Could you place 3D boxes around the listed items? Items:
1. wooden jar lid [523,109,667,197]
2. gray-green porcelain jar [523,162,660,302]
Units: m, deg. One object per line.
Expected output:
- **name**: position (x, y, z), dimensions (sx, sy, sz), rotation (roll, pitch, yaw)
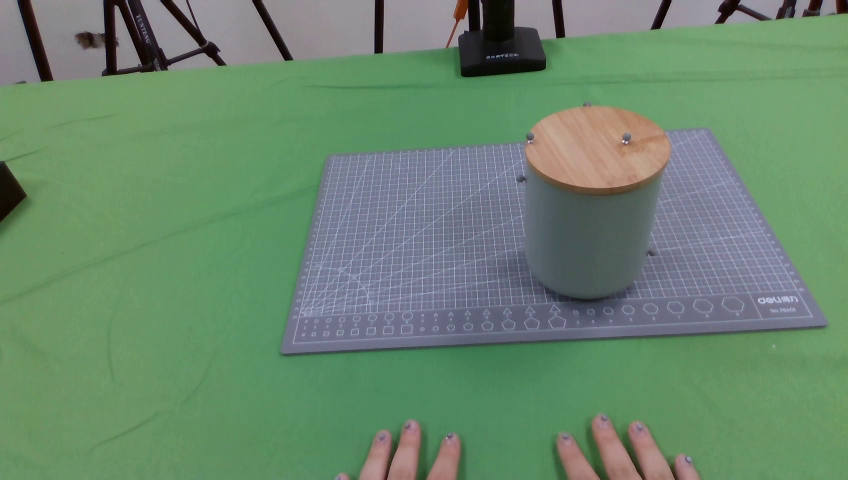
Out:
- **wooden jar lid**: position (0.131, -0.065, 0.473), dimensions (0.108, 0.021, 0.107), rotation (-5, 43, 5)
- **gray-green porcelain jar**: position (0.137, -0.019, 0.514), dimensions (0.106, 0.128, 0.105), rotation (-4, 42, 4)
